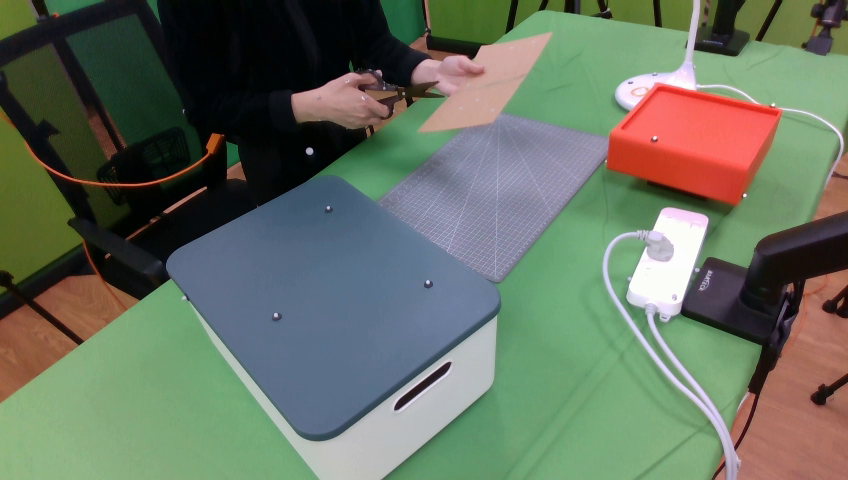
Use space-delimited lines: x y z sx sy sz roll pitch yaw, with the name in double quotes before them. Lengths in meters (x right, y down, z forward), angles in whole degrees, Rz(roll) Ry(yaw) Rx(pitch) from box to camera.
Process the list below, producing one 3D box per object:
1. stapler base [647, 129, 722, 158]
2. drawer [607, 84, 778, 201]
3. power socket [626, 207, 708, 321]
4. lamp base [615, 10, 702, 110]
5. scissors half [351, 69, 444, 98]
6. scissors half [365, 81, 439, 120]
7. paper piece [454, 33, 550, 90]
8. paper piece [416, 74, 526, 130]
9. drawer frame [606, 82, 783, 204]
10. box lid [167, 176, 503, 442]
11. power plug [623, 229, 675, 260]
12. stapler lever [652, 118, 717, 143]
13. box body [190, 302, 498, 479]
"stapler base" 0.439 -0.167 1.023 0.131 0.024 0.041 -16 25 -15
"drawer" 0.438 -0.167 0.995 0.210 0.073 0.195 23 48 30
"power socket" 0.360 0.026 0.886 0.072 0.033 0.227 16 46 26
"lamp base" 0.484 -0.364 1.211 0.180 0.181 0.159 -15 41 -14
"scissors half" -0.046 -0.259 1.021 0.174 0.040 0.013 17 54 17
"scissors half" -0.038 -0.241 1.036 0.174 0.040 0.013 -15 32 44
"paper piece" 0.128 -0.293 0.994 0.137 0.009 0.136 -2 40 38
"paper piece" 0.070 -0.207 0.913 0.134 0.004 0.135 0 39 37
"drawer frame" 0.441 -0.167 0.995 0.212 0.083 0.202 23 48 30
"box lid" -0.119 0.047 0.714 0.264 0.015 0.368 -32 47 -27
"power plug" 0.327 0.007 0.878 0.072 0.053 0.035 25 51 33
"stapler lever" 0.436 -0.192 1.014 0.118 0.040 0.026 -15 25 -16
"box body" -0.110 0.103 0.761 0.255 0.161 0.361 -33 46 -27
